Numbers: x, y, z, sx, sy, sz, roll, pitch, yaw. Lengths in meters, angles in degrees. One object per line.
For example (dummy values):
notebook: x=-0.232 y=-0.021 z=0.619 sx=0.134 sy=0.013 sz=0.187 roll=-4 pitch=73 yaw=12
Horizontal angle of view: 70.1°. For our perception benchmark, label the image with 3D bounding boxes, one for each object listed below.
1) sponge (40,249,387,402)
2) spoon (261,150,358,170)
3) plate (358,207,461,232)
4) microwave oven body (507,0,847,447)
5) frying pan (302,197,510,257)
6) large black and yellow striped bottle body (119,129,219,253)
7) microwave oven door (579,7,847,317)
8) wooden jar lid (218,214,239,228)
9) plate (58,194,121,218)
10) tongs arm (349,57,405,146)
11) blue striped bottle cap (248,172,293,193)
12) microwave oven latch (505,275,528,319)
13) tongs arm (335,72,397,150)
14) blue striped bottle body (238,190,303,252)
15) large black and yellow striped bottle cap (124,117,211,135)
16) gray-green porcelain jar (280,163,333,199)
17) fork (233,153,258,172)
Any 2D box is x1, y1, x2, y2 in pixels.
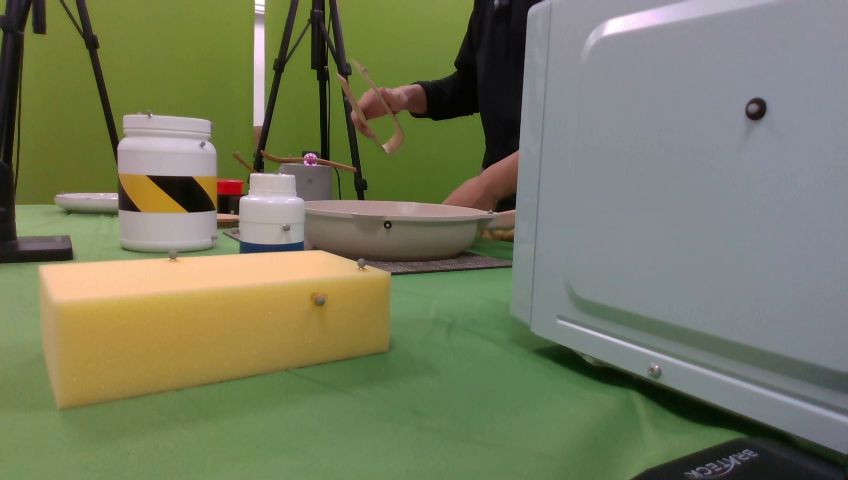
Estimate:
sponge: x=-0.142 y=0.047 z=0.419 sx=0.208 sy=0.061 sz=0.117 roll=-3 pitch=8 yaw=-36
spoon: x=-0.229 y=-0.161 z=1.222 sx=0.194 sy=0.021 sz=0.041 roll=3 pitch=3 yaw=-16
plate: x=-0.030 y=-0.041 z=1.213 sx=0.208 sy=0.039 sz=0.207 roll=3 pitch=6 yaw=0
microwave oven body: x=0.331 y=-0.042 z=0.425 sx=0.444 sy=0.260 sz=0.324 roll=-2 pitch=8 yaw=-31
frying pan: x=0.051 y=-0.035 z=0.915 sx=0.487 sy=0.102 sz=0.307 roll=-5 pitch=7 yaw=11
large black and yellow striped bottle body: x=-0.367 y=-0.080 z=0.876 sx=0.131 sy=0.184 sz=0.130 roll=1 pitch=7 yaw=0
microwave oven door: x=0.294 y=-0.067 z=0.570 sx=0.358 sy=0.243 sz=0.039 roll=-3 pitch=9 yaw=-31
wooden jar lid: x=-0.404 y=-0.037 z=1.169 sx=0.108 sy=0.020 sz=0.108 roll=3 pitch=7 yaw=0
plate: x=-0.671 y=-0.074 z=1.310 sx=0.209 sy=0.038 sz=0.209 roll=2 pitch=8 yaw=0
tongs arm: x=-0.090 y=-0.255 z=1.167 sx=0.026 sy=0.051 sz=0.385 roll=41 pitch=3 yaw=12
blue striped bottle cap: x=-0.152 y=-0.057 z=0.598 sx=0.044 sy=0.020 sz=0.044 roll=3 pitch=7 yaw=0
microwave oven latch: x=0.100 y=0.041 z=0.471 sx=0.079 sy=0.029 sz=0.030 roll=-1 pitch=7 yaw=-28
tongs arm: x=-0.106 y=-0.237 z=1.166 sx=0.027 sy=0.028 sz=0.388 roll=37 pitch=-2 yaw=12
blue striped bottle body: x=-0.153 y=-0.007 z=0.606 sx=0.063 sy=0.120 sz=0.063 roll=2 pitch=8 yaw=0
large black and yellow striped bottle cap: x=-0.366 y=-0.163 z=0.866 sx=0.115 sy=0.019 sz=0.115 roll=3 pitch=7 yaw=0
gray-green porcelain jar: x=-0.238 y=-0.092 z=1.221 sx=0.106 sy=0.126 sz=0.106 roll=2 pitch=7 yaw=0
fork: x=-0.396 y=-0.143 z=1.486 sx=0.028 sy=0.018 sz=0.208 roll=21 pitch=-26 yaw=45
